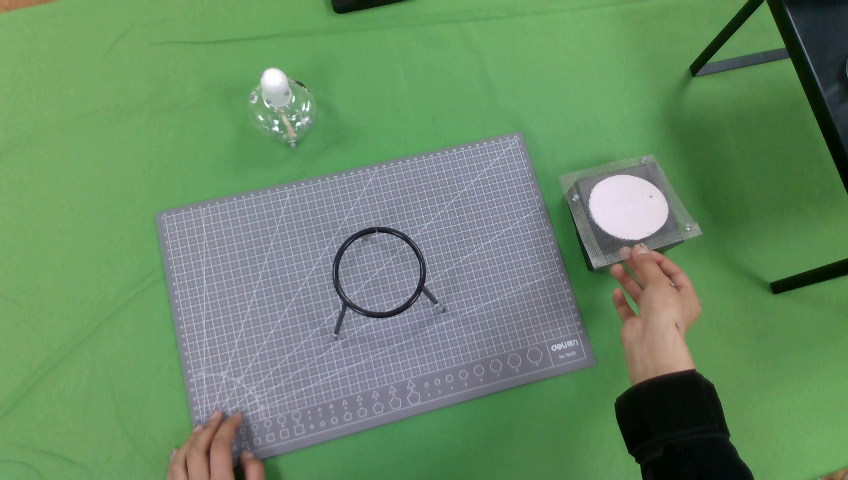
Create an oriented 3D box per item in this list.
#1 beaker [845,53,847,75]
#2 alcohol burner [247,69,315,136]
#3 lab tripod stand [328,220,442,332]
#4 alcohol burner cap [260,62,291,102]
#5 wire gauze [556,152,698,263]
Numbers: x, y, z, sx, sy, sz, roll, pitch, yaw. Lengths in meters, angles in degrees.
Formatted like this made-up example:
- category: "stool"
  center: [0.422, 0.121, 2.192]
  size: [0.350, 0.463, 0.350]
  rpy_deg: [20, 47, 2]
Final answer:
- category: "beaker"
  center: [0.457, -0.182, 0.564]
  size: [0.084, 0.100, 0.073]
  rpy_deg: [-27, 79, -9]
- category: "alcohol burner"
  center: [-0.165, -0.166, 0.690]
  size: [0.078, 0.119, 0.077]
  rpy_deg: [1, 76, -6]
- category: "lab tripod stand"
  center: [-0.046, 0.039, 0.638]
  size: [0.148, 0.132, 0.147]
  rpy_deg: [2, 75, -5]
- category: "alcohol burner cap"
  center: [-0.163, -0.173, 0.656]
  size: [0.034, 0.048, 0.033]
  rpy_deg: [1, 81, -8]
- category: "wire gauze"
  center: [0.225, -0.042, 0.681]
  size: [0.121, 0.011, 0.124]
  rpy_deg: [-14, 61, -3]
